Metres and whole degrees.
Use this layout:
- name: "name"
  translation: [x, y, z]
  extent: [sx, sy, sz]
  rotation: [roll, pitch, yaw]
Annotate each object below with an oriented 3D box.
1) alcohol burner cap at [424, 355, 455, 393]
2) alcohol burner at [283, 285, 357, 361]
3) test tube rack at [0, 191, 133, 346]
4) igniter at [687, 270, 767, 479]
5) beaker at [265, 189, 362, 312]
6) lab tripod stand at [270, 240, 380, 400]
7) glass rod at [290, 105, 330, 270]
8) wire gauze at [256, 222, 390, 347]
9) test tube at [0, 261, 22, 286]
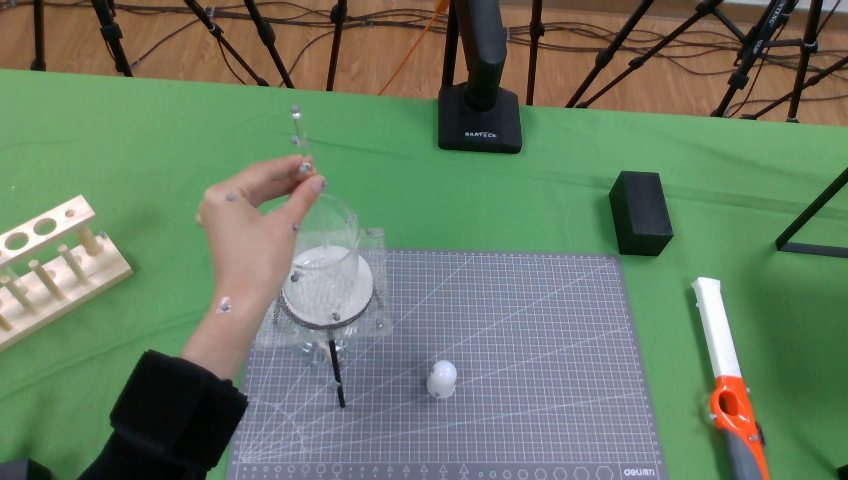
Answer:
- name: "alcohol burner cap"
  translation: [0.018, 0.142, 0.652]
  extent: [0.034, 0.048, 0.033]
  rotation: [2, 58, -3]
- name: "alcohol burner"
  translation: [-0.109, 0.080, 0.635]
  extent: [0.078, 0.120, 0.077]
  rotation: [4, 56, -5]
- name: "test tube rack"
  translation: [-0.449, 0.053, 0.638]
  extent: [0.242, 0.086, 0.066]
  rotation: [-35, 67, -24]
- name: "igniter"
  translation: [0.340, 0.158, 0.685]
  extent: [0.057, 0.025, 0.274]
  rotation: [10, 57, -12]
- name: "beaker"
  translation: [-0.097, 0.013, 0.531]
  extent: [0.084, 0.101, 0.073]
  rotation: [24, 59, 9]
- name: "lab tripod stand"
  translation: [-0.098, 0.076, 0.627]
  extent: [0.148, 0.132, 0.147]
  rotation: [4, 58, -5]
- name: "glass rod"
  translation: [-0.091, -0.032, 0.495]
  extent: [0.008, 0.201, 0.008]
  rotation: [1, 54, -1]
- name: "wire gauze"
  translation: [-0.097, 0.037, 0.574]
  extent: [0.121, 0.011, 0.124]
  rotation: [-3, 62, -6]
- name: "test tube"
  translation: [-0.443, 0.005, 0.611]
  extent: [0.017, 0.151, 0.017]
  rotation: [3, 53, -4]
